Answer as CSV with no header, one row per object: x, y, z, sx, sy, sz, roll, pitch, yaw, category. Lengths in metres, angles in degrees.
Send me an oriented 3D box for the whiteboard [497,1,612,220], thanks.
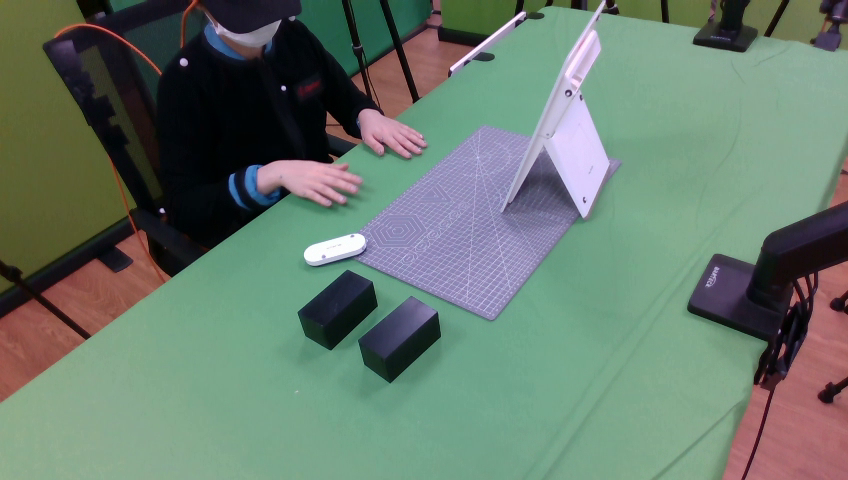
0.259,-0.177,0.963,0.143,0.306,0.217,28,48,9,whiteboard

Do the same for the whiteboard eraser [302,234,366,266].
-0.144,0.015,0.970,0.101,0.019,0.041,-14,43,-6,whiteboard eraser
